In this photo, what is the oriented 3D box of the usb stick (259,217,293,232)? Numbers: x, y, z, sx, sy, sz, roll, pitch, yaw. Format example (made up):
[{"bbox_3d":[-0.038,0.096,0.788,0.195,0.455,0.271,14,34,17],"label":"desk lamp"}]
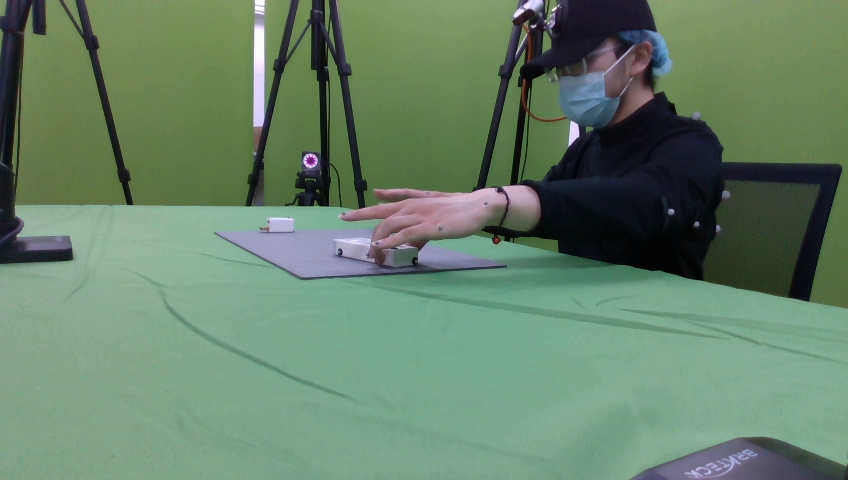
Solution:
[{"bbox_3d":[-0.268,-0.028,1.093,0.059,0.027,0.021,-5,12,-32],"label":"usb stick"}]

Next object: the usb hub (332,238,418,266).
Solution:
[{"bbox_3d":[-0.070,0.015,0.834,0.124,0.025,0.050,8,8,42],"label":"usb hub"}]
